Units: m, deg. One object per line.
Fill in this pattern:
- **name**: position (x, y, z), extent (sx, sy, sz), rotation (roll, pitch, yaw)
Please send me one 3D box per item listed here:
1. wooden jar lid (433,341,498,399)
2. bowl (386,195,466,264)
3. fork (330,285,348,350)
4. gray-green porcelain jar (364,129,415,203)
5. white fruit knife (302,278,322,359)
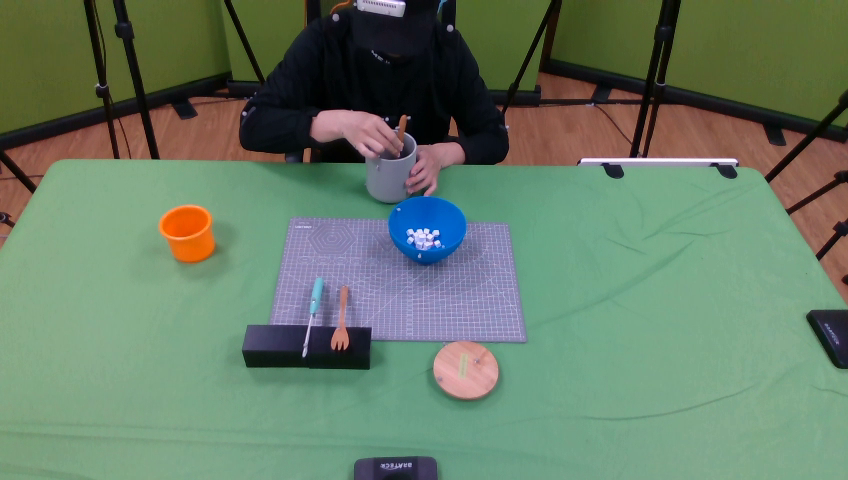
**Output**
- **wooden jar lid**: position (0.068, 0.216, 0.997), extent (0.108, 0.021, 0.107), rotation (1, 46, -1)
- **bowl**: position (0.002, -0.007, 1.162), extent (0.151, 0.077, 0.150), rotation (2, 46, -2)
- **fork**: position (-0.140, 0.127, 1.021), extent (0.028, 0.019, 0.206), rotation (-5, 28, -2)
- **gray-green porcelain jar**: position (-0.073, -0.149, 1.264), extent (0.106, 0.127, 0.105), rotation (2, 46, -2)
- **white fruit knife**: position (-0.189, 0.126, 1.020), extent (0.016, 0.027, 0.206), rotation (0, 33, -2)
